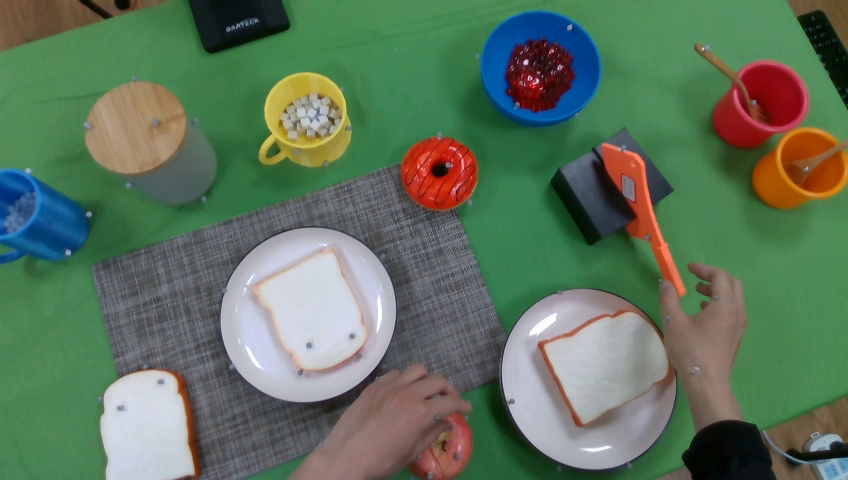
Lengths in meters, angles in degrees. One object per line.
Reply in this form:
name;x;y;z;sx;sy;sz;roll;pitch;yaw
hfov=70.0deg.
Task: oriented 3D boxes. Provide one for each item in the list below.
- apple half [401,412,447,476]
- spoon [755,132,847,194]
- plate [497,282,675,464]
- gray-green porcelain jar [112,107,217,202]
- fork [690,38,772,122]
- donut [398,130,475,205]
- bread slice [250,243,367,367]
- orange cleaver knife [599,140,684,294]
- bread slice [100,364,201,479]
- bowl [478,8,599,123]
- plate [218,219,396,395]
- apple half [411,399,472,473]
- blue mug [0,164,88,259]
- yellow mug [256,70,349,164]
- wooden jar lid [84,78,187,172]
apple half;-0.007;0.234;0.678;0.033;0.081;0.081;-29;79;-10
spoon;0.500;-0.116;0.736;0.022;0.194;0.041;-12;70;-51
plate;0.189;0.156;0.721;0.209;0.038;0.208;0;77;-1
gray-green porcelain jar;-0.313;-0.108;0.721;0.106;0.127;0.105;0;76;-1
fork;0.385;-0.196;0.751;0.209;0.018;0.028;22;72;-39
donut;0.016;-0.091;0.765;0.099;0.048;0.098;0;78;-2
bread slice;-0.129;0.082;0.726;0.107;0.018;0.133;-30;79;-8
orange cleaver knife;0.265;-0.027;0.743;0.012;0.076;0.213;-32;109;-14
bread slice;-0.321;0.210;0.699;0.105;0.019;0.131;-12;79;-5
bowl;0.140;-0.211;0.783;0.151;0.077;0.150;0;78;-1
plate;-0.137;0.080;0.725;0.208;0.039;0.206;0;77;-2
apple half;0.025;0.215;0.685;0.053;0.075;0.080;-28;77;-12
blue mug;-0.472;-0.020;0.706;0.082;0.106;0.116;43;80;8
yellow mug;-0.159;-0.145;0.765;0.131;0.064;0.099;-43;82;-10
wooden jar lid;-0.312;-0.123;0.660;0.108;0.021;0.108;0;76;0
